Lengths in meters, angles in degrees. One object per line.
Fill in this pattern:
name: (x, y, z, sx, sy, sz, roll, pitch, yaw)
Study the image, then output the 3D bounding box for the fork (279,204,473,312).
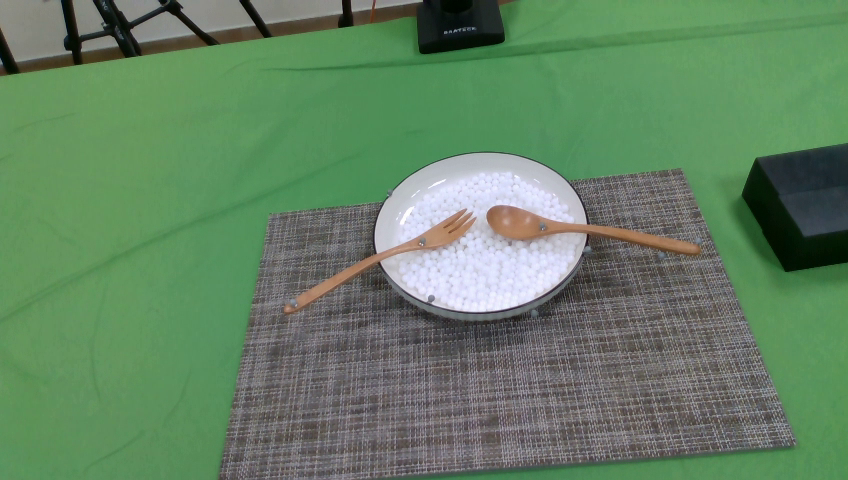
fork: (-0.041, 0.015, 0.571, 0.207, 0.019, 0.028, -26, 52, -22)

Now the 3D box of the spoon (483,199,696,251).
spoon: (0.146, -0.012, 0.558, 0.192, 0.022, 0.041, 9, 49, 26)

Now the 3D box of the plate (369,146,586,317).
plate: (0.051, -0.009, 0.595, 0.209, 0.038, 0.207, -5, 51, 6)
